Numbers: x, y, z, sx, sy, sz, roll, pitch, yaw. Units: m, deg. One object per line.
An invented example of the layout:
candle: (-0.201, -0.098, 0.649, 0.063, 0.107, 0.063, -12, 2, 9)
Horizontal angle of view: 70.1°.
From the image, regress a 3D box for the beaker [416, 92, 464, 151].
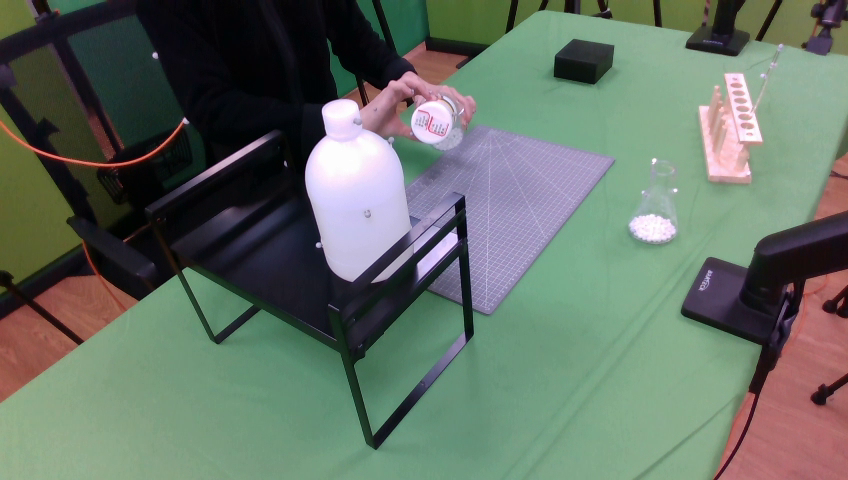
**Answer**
beaker: (0.033, -0.207, 1.068, 0.084, 0.100, 0.073, -13, 76, 6)

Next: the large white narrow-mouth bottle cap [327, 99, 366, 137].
large white narrow-mouth bottle cap: (-0.075, -0.117, 0.582, 0.038, 0.024, 0.037, -3, 40, 3)

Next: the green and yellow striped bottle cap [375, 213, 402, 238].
green and yellow striped bottle cap: (-0.061, -0.025, 1.016, 0.045, 0.020, 0.045, -2, 42, 2)

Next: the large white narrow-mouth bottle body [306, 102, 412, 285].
large white narrow-mouth bottle body: (-0.070, -0.051, 0.637, 0.102, 0.195, 0.101, -3, 40, 3)

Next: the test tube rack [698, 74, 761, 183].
test tube rack: (0.547, -0.208, 1.095, 0.066, 0.085, 0.242, 5, 42, 15)

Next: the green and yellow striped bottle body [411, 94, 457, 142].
green and yellow striped bottle body: (0.019, -0.196, 0.958, 0.063, 0.063, 0.119, -1, 19, 7)

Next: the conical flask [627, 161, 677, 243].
conical flask: (0.355, -0.061, 0.921, 0.075, 0.122, 0.075, -4, 41, 4)

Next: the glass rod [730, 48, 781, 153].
glass rod: (0.554, -0.228, 1.015, 0.008, 0.200, 0.008, 1, 44, -1)
